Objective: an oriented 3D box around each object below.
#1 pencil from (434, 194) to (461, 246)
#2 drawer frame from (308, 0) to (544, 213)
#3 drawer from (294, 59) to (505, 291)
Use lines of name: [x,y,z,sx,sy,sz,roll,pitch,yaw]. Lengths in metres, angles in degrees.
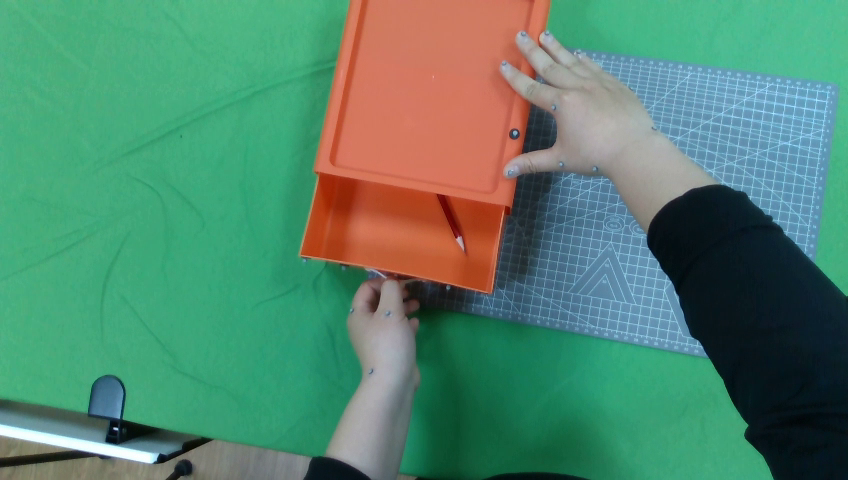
pencil: [0.001,-0.078,0.645,0.012,0.012,0.194,-24,88,4]
drawer frame: [0.004,-0.148,0.623,0.201,0.083,0.213,10,86,7]
drawer: [-0.011,-0.064,0.618,0.194,0.073,0.211,10,86,8]
